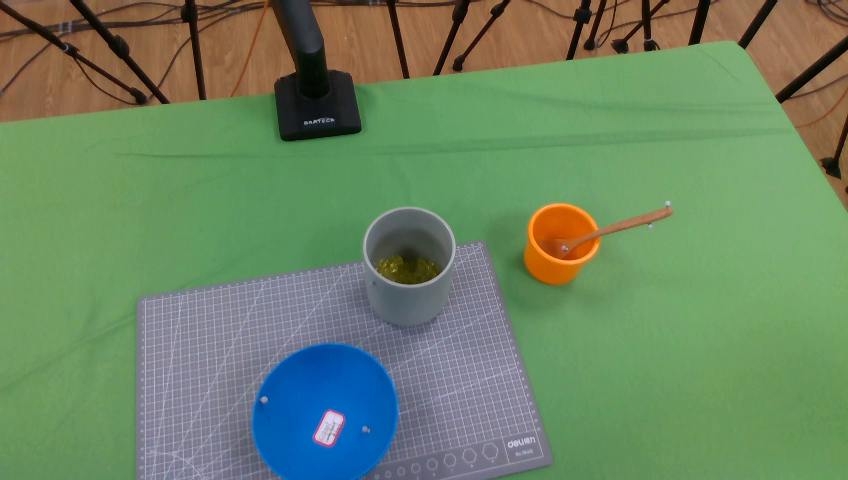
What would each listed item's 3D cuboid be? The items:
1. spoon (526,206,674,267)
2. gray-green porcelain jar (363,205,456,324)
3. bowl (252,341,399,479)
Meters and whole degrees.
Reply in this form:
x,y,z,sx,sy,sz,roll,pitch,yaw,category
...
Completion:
x,y,z,sx,sy,sz,roll,pitch,yaw,category
0.213,-0.006,0.754,0.022,0.193,0.041,28,51,-39,spoon
-0.019,0.036,0.725,0.106,0.127,0.105,2,60,-2,gray-green porcelain jar
-0.102,0.193,0.658,0.151,0.077,0.150,2,60,-3,bowl
